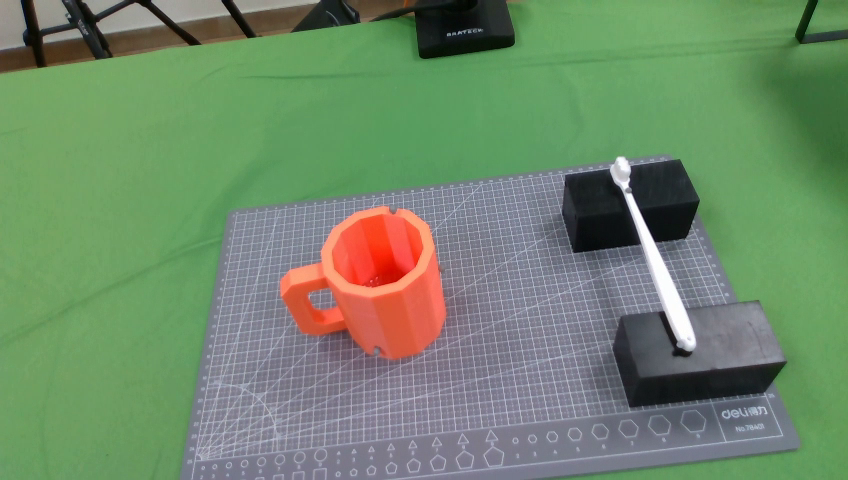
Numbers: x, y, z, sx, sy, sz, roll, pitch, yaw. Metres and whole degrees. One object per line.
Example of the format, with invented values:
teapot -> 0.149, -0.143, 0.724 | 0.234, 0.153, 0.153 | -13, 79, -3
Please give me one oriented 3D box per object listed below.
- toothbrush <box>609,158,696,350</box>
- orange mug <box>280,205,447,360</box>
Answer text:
toothbrush -> 0.175, 0.003, 0.470 | 0.014, 0.017, 0.180 | 1, 52, -10
orange mug -> -0.046, 0.039, 0.485 | 0.126, 0.102, 0.082 | -11, 51, -6
